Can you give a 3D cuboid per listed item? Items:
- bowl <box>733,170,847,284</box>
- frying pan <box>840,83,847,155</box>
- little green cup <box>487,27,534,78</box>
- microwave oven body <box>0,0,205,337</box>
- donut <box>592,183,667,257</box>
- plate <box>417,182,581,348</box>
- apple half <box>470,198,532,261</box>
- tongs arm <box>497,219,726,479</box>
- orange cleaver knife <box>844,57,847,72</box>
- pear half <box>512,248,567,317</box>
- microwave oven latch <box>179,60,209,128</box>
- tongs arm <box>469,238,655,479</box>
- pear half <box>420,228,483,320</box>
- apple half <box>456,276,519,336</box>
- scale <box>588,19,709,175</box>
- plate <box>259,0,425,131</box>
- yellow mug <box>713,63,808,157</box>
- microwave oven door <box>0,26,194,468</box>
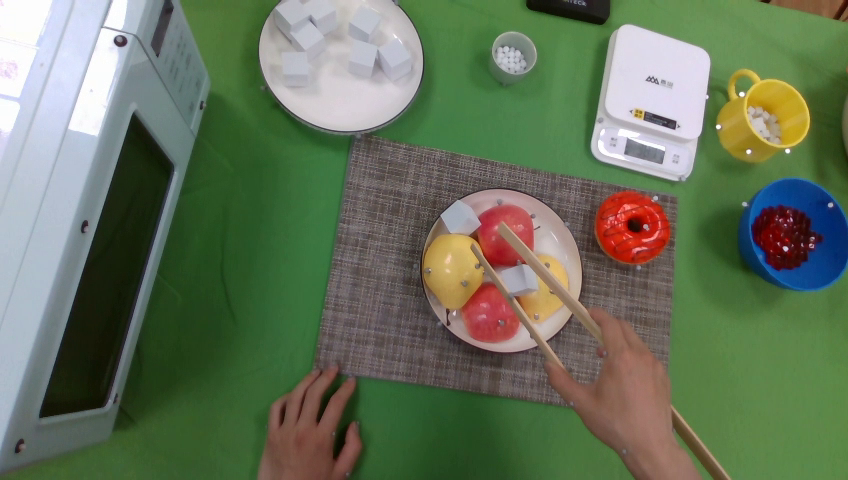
[{"bbox_3d":[0.474,-0.011,0.815,0.152,0.077,0.151,2,80,-9],"label":"bowl"},{"bbox_3d":[0.775,-0.072,0.863,0.307,0.103,0.485,-17,75,-11],"label":"frying pan"},{"bbox_3d":[0.114,-0.251,0.818,0.062,0.038,0.061,2,79,-9],"label":"little green cup"},{"bbox_3d":[-0.440,-0.056,0.571,0.327,0.260,0.440,13,79,-7],"label":"microwave oven body"},{"bbox_3d":[0.269,-0.026,0.796,0.099,0.048,0.098,1,80,-6],"label":"donut"},{"bbox_3d":[0.093,0.031,0.759,0.210,0.038,0.208,2,80,-10],"label":"plate"},{"bbox_3d":[0.098,-0.015,0.751,0.075,0.053,0.080,-3,83,-7],"label":"apple half"},{"bbox_3d":[0.193,0.129,0.615,0.028,0.028,0.385,-32,73,-19],"label":"tongs arm"},{"bbox_3d":[0.626,-0.166,0.835,0.077,0.012,0.210,0,81,-12],"label":"orange cleaver knife"},{"bbox_3d":[0.145,0.052,0.758,0.070,0.031,0.087,10,76,6],"label":"pear half"},{"bbox_3d":[-0.278,-0.176,0.719,0.030,0.029,0.079,14,78,-7],"label":"microwave oven latch"},{"bbox_3d":[0.172,0.143,0.608,0.051,0.027,0.382,-29,73,-15],"label":"tongs arm"},{"bbox_3d":[0.035,0.041,0.725,0.077,0.056,0.109,5,82,-17],"label":"pear half"},{"bbox_3d":[0.081,0.080,0.739,0.081,0.033,0.081,3,73,-11],"label":"apple half"},{"bbox_3d":[0.314,-0.199,0.846,0.149,0.031,0.200,14,78,-6],"label":"scale"},{"bbox_3d":[-0.104,-0.236,0.779,0.208,0.039,0.206,2,79,-9],"label":"plate"},{"bbox_3d":[0.464,-0.189,0.851,0.100,0.064,0.130,-23,83,-12],"label":"yellow mug"},{"bbox_3d":[-0.305,0.015,0.575,0.039,0.244,0.354,12,78,-7],"label":"microwave oven door"}]
